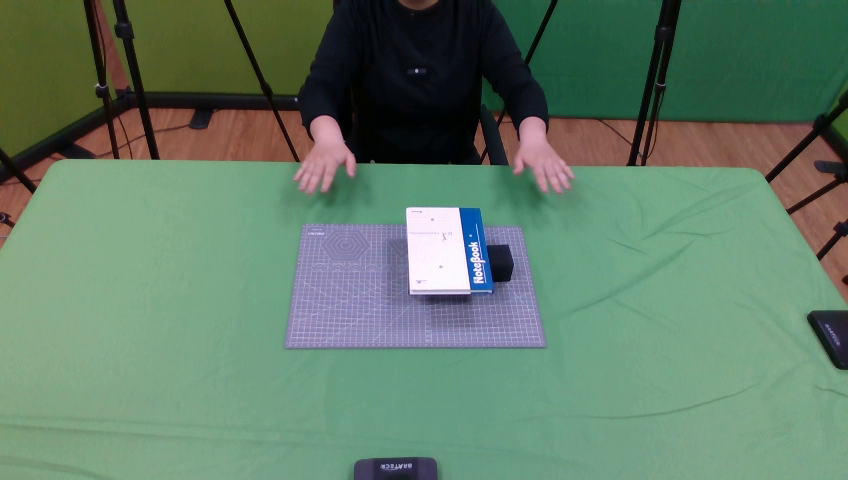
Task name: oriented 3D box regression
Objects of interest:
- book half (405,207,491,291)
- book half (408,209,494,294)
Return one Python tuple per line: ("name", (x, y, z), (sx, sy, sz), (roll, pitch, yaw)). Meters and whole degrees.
("book half", (0.039, 0.011, 1.113), (0.143, 0.007, 0.208), (0, 46, -5))
("book half", (0.042, 0.016, 1.119), (0.149, 0.016, 0.209), (1, 46, -5))
